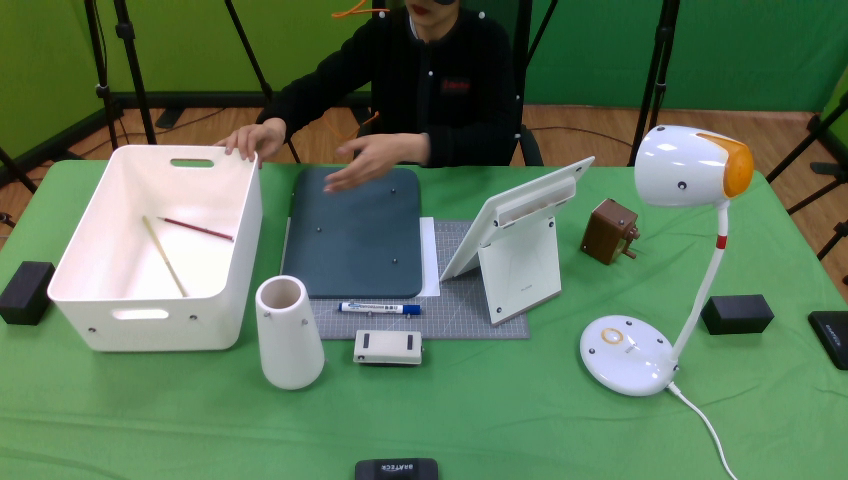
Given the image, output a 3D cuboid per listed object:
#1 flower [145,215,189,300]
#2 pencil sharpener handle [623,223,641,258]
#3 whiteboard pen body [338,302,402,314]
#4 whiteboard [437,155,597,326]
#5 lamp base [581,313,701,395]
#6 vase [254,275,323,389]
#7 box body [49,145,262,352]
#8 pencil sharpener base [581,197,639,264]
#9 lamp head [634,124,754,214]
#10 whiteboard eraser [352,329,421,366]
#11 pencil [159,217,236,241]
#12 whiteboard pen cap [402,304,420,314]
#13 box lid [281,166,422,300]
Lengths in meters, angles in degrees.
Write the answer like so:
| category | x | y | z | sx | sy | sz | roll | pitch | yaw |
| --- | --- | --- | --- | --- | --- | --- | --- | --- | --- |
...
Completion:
| category | x | y | z | sx | sy | sz | roll | pitch | yaw |
| --- | --- | --- | --- | --- | --- | --- | --- | --- | --- |
| flower | -0.452 | 0.061 | 1.095 | 0.044 | 0.038 | 0.359 | -26 | 52 | -20 |
| pencil sharpener handle | 0.399 | 0.002 | 1.146 | 0.030 | 0.068 | 0.036 | 35 | 45 | 26 |
| whiteboard pen body | -0.083 | 0.121 | 1.074 | 0.141 | 0.017 | 0.017 | 3 | 46 | -2 |
| whiteboard | 0.180 | 0.023 | 1.029 | 0.217 | 0.306 | 0.143 | -21 | 70 | -23 |
| lamp base | 0.361 | 0.144 | 0.973 | 0.178 | 0.181 | 0.160 | 34 | 53 | 23 |
| vase | -0.209 | 0.142 | 0.921 | 0.098 | 0.201 | 0.097 | 1 | 46 | -1 |
| box body | -0.434 | 0.011 | 1.056 | 0.254 | 0.161 | 0.361 | 1 | 47 | -5 |
| pencil sharpener base | 0.362 | -0.016 | 1.178 | 0.076 | 0.107 | 0.061 | 35 | 53 | 26 |
| lamp head | 0.351 | -0.089 | 0.776 | 0.112 | 0.113 | 0.122 | -30 | 30 | -28 |
| whiteboard eraser | -0.061 | 0.179 | 1.005 | 0.113 | 0.042 | 0.055 | 3 | 48 | -3 |
| pencil | -0.433 | -0.020 | 1.181 | 0.194 | 0.012 | 0.012 | 15 | 47 | 10 |
| whiteboard pen cap | -0.024 | 0.123 | 1.076 | 0.033 | 0.018 | 0.018 | 1 | 46 | 1 |
| box lid | -0.138 | -0.029 | 1.219 | 0.263 | 0.015 | 0.369 | 1 | 46 | -4 |
